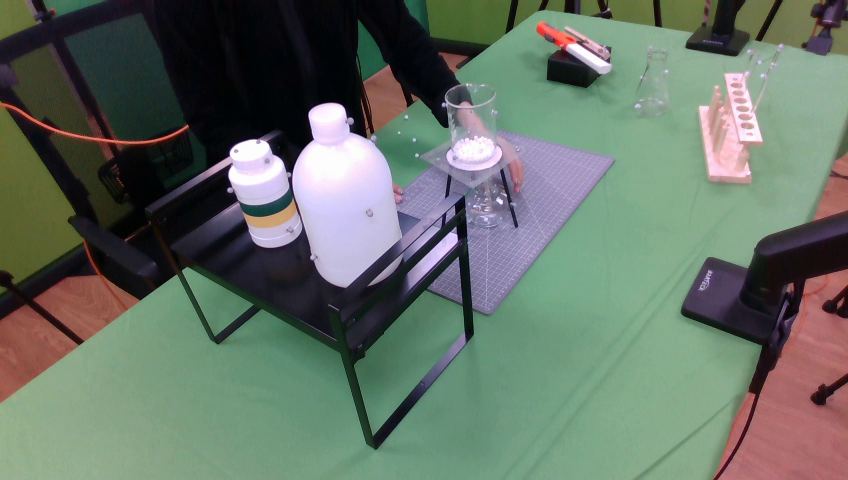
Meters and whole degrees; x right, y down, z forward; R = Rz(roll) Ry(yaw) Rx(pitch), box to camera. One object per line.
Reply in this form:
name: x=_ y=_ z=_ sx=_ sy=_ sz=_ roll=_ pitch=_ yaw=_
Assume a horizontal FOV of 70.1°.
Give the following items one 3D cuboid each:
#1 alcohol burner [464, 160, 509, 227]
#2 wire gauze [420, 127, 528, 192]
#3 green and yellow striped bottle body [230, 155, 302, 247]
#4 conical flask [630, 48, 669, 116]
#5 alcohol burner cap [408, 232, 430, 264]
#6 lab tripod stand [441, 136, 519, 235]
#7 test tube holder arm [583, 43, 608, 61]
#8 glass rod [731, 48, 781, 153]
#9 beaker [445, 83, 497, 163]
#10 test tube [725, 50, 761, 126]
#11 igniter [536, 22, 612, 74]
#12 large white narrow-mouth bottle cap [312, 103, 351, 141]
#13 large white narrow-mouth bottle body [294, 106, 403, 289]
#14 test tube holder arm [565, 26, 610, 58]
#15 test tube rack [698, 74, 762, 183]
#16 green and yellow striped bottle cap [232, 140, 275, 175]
alcohol burner: x=0.102 y=-0.081 z=0.982 sx=0.078 sy=0.119 sz=0.077 roll=-4 pitch=43 yaw=4
wire gauze: x=0.076 y=-0.131 z=0.927 sx=0.122 sy=0.011 sz=0.124 roll=-34 pitch=49 yaw=-25
green and yellow striped bottle body: x=-0.188 y=-0.055 z=0.714 sx=0.063 sy=0.120 sz=0.063 roll=-4 pitch=41 yaw=4
conical flask: x=0.456 y=-0.317 z=1.205 sx=0.075 sy=0.122 sz=0.075 roll=-4 pitch=41 yaw=4
alcohol burner cap: x=-0.010 y=0.010 z=0.947 sx=0.034 sy=0.048 sz=0.033 roll=-4 pitch=41 yaw=4
lab tripod stand: x=0.083 y=-0.086 z=0.976 sx=0.148 sy=0.132 sz=0.147 roll=-4 pitch=43 yaw=4
test tube holder arm: x=0.379 y=-0.420 z=1.341 sx=0.010 sy=0.015 sz=0.087 roll=-39 pitch=41 yaw=10
glass rod: x=0.554 y=-0.228 z=1.014 sx=0.008 sy=0.200 sz=0.008 roll=1 pitch=44 yaw=-1
beaker: x=0.073 y=-0.175 z=0.904 sx=0.074 sy=0.101 sz=0.084 roll=3 pitch=41 yaw=13
test tube: x=0.570 y=-0.269 z=1.086 sx=0.017 sy=0.151 sz=0.017 roll=-1 pitch=45 yaw=2
igniter: x=0.330 y=-0.439 z=1.366 sx=0.057 sy=0.025 sz=0.274 roll=-11 pitch=41 yaw=-20
large white narrow-mouth bottle cap: x=-0.089 y=-0.113 z=0.579 sx=0.038 sy=0.024 sz=0.037 roll=-4 pitch=39 yaw=3
large white narrow-mouth bottle body: x=-0.082 y=-0.047 z=0.634 sx=0.102 sy=0.195 sz=0.101 roll=-4 pitch=40 yaw=4
test tube holder arm: x=0.369 y=-0.450 z=1.373 sx=0.013 sy=0.015 sz=0.177 roll=-39 pitch=41 yaw=10
test tube rack: x=0.547 y=-0.208 z=1.095 sx=0.066 sy=0.085 sz=0.242 roll=5 pitch=42 yaw=15
green and yellow striped bottle cap: x=-0.192 y=-0.094 z=0.680 sx=0.045 sy=0.020 sz=0.045 roll=-5 pitch=39 yaw=5
